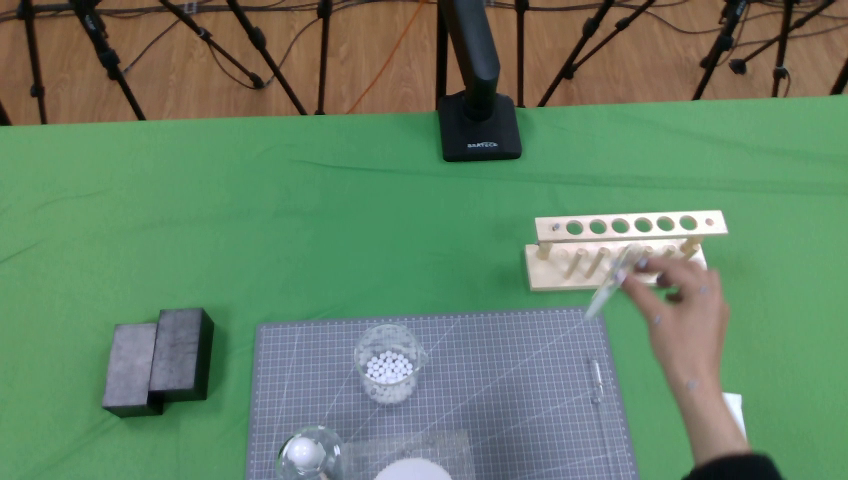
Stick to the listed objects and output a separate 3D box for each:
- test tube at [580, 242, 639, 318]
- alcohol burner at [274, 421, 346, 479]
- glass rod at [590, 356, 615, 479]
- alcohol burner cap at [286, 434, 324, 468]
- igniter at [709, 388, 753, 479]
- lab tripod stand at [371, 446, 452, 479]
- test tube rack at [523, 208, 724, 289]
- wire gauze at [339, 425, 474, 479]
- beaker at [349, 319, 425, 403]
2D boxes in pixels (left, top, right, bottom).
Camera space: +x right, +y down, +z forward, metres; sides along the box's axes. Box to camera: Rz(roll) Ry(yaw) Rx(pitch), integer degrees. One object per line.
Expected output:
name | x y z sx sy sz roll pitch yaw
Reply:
test tube | 0.183 0.045 0.611 0.017 0.151 0.017 1 60 -2
alcohol burner | -0.124 0.230 0.649 0.078 0.120 0.077 1 59 -1
glass rod | 0.215 0.235 0.719 0.008 0.008 0.198 -1 65 -3
alcohol burner cap | -0.123 0.213 0.617 0.034 0.048 0.033 -2 66 4
igniter | 0.358 0.305 0.679 0.057 0.025 0.274 9 62 -9
lab tripod stand | -0.015 0.274 0.618 0.148 0.132 0.147 0 61 0
test tube rack | 0.260 0.012 0.800 0.242 0.086 0.066 -2 62 -3
wire gauze | -0.013 0.238 0.561 0.125 0.011 0.120 -5 61 -5
beaker | -0.041 0.145 0.706 0.084 0.101 0.073 5 62 1
